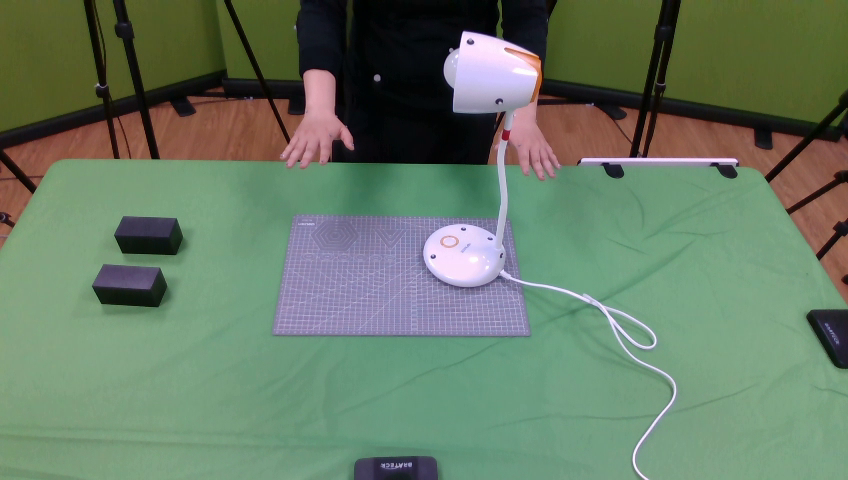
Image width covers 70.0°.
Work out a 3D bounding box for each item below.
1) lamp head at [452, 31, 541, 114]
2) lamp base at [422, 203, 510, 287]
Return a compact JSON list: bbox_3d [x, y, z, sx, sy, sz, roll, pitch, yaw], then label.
[{"bbox_3d":[0.102,-0.228,0.858,0.123,0.113,0.112,11,46,0],"label":"lamp head"},{"bbox_3d":[0.092,-0.021,1.111,0.179,0.181,0.160,23,49,14],"label":"lamp base"}]
